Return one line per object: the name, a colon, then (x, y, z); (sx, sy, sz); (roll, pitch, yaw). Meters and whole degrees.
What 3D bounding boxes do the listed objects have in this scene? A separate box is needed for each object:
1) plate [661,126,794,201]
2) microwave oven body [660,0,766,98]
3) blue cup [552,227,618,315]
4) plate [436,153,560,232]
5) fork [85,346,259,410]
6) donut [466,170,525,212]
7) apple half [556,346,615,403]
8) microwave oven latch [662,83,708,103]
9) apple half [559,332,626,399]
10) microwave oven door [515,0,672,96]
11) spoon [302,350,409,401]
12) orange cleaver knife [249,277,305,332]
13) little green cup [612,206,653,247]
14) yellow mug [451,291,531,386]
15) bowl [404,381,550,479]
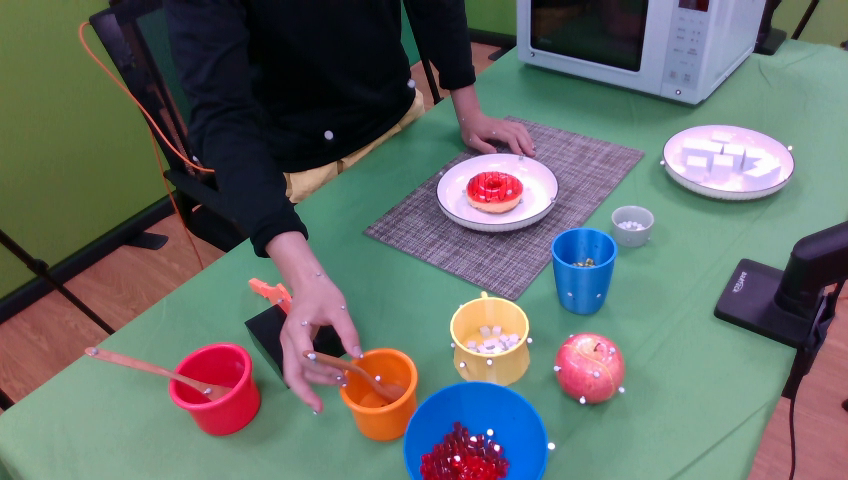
plate: (0.513, -0.127, 1.035); (0.207, 0.039, 0.206); (-4, 40, 4)
microwave oven body: (0.473, -0.513, 1.317); (0.438, 0.261, 0.327); (26, 51, 34)
blue cup: (0.218, 0.047, 0.825); (0.092, 0.101, 0.092); (-6, 39, 6)
plate: (0.125, -0.078, 1.029); (0.209, 0.038, 0.208); (-4, 40, 4)
fork: (-0.298, 0.166, 0.727); (0.209, 0.018, 0.028); (28, 48, -23)
donut: (0.121, -0.083, 1.019); (0.099, 0.048, 0.098); (-4, 39, 4)
apple half: (0.181, 0.167, 0.709); (0.080, 0.081, 0.033); (29, 52, 35)
microwave oven latch: (0.518, -0.297, 1.204); (0.078, 0.029, 0.030); (29, 53, 36)
apple half: (0.209, 0.147, 0.730); (0.080, 0.075, 0.053); (26, 48, 38)
microwave oven door: (0.344, -0.455, 1.259); (0.353, 0.245, 0.039); (26, 51, 33)
spoon: (-0.073, 0.151, 0.682); (0.041, 0.195, 0.021); (29, 80, 39)
orange cleaver knife: (-0.210, 0.089, 0.855); (0.012, 0.077, 0.210); (-28, 15, -25)
little green cup: (0.321, -0.019, 0.936); (0.061, 0.039, 0.061); (-4, 40, 4)
yellow mug: (0.086, 0.120, 0.786); (0.100, 0.064, 0.130); (-7, 39, 2)
bowl: (0.058, 0.235, 0.645); (0.151, 0.077, 0.150); (-4, 39, 4)
